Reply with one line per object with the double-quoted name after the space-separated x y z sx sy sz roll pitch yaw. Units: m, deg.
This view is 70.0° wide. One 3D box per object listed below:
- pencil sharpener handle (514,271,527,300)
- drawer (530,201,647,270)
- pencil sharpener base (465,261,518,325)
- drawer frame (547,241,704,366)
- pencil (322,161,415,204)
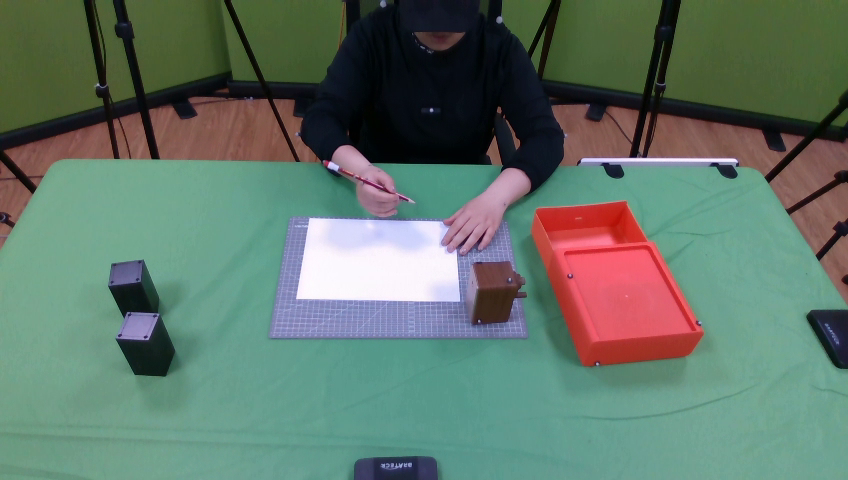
0.169 0.081 1.051 0.031 0.068 0.035 -3 49 -7 "pencil sharpener handle"
0.328 0.025 1.159 0.195 0.073 0.210 -4 46 -9 "drawer"
0.117 0.093 1.052 0.077 0.107 0.061 -3 46 -7 "pencil sharpener base"
0.348 0.106 1.077 0.202 0.083 0.212 -4 47 -9 "drawer frame"
-0.104 -0.108 1.155 0.194 0.012 0.012 23 45 -11 "pencil"
